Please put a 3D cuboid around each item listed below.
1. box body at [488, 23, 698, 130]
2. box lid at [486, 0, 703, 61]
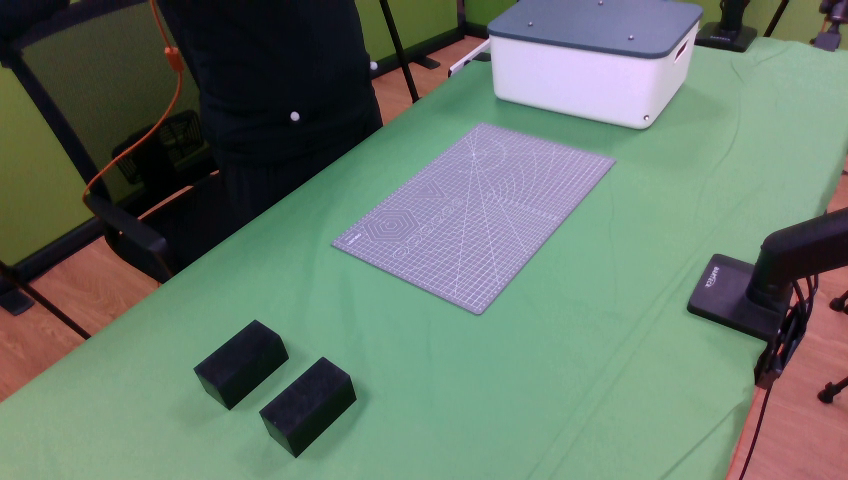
[{"bbox_3d":[0.345,-0.379,1.257,0.361,0.161,0.255,20,48,29],"label":"box body"},{"bbox_3d":[0.338,-0.435,1.208,0.369,0.015,0.264,20,47,29],"label":"box lid"}]
